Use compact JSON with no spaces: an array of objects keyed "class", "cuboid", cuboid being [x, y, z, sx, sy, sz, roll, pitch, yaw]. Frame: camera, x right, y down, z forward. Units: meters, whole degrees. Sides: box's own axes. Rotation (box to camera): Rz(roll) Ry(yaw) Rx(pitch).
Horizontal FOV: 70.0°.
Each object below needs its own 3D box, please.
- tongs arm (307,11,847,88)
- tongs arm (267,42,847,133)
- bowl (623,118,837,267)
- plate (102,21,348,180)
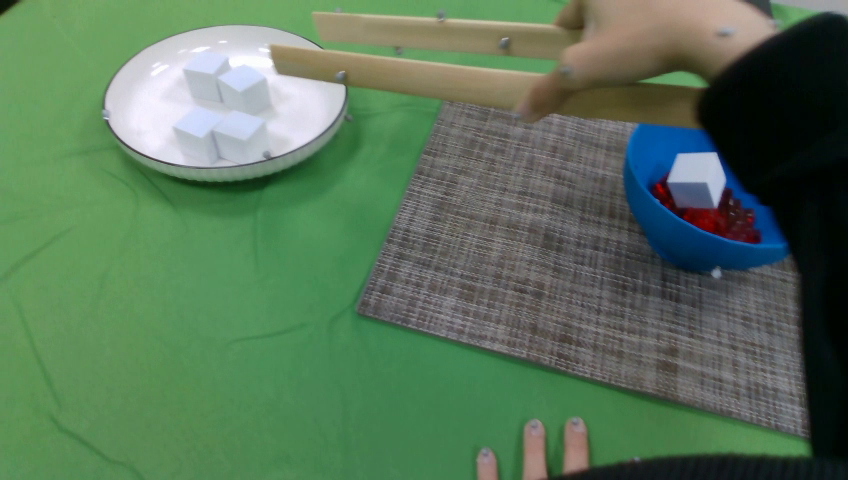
[{"class":"tongs arm","cuboid":[0.070,-0.127,0.408,0.382,0.027,0.050,12,47,24]},{"class":"tongs arm","cuboid":[0.054,-0.104,0.387,0.385,0.028,0.028,12,44,24]},{"class":"bowl","cuboid":[0.223,-0.031,0.477,0.151,0.077,0.150,3,50,-3]},{"class":"plate","cuboid":[-0.174,-0.126,0.551,0.209,0.038,0.207,3,51,-3]}]
